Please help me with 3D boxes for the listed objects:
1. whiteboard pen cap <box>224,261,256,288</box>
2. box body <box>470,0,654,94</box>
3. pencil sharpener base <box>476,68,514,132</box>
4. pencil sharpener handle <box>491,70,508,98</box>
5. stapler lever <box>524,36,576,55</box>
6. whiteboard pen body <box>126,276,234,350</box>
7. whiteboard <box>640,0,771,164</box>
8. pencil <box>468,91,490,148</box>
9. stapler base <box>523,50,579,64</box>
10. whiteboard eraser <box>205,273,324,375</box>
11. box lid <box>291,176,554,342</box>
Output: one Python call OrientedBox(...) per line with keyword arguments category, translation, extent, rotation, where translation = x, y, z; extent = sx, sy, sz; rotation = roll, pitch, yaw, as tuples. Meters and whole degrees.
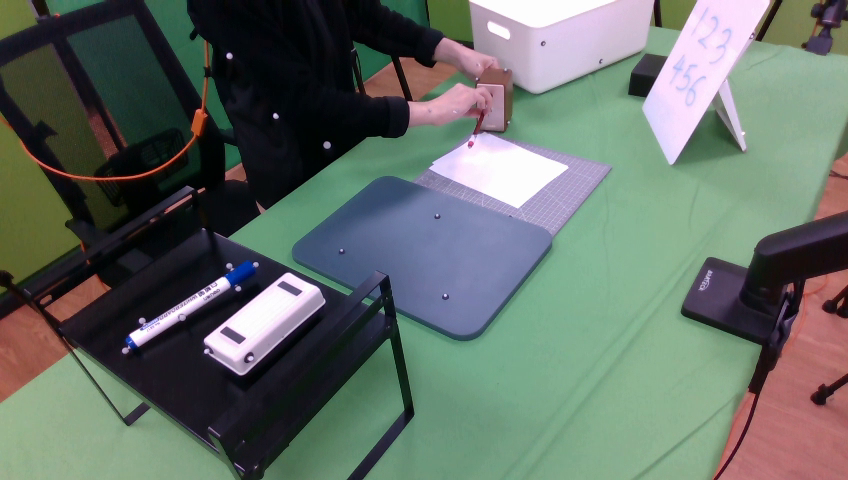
OrientedBox(category="whiteboard pen cap", translation=(-0.207, 0.039, 0.677), extent=(0.033, 0.018, 0.018), rotation=(-36, 47, -18))
OrientedBox(category="box body", translation=(0.319, -0.498, 1.405), extent=(0.365, 0.161, 0.252), rotation=(-26, 43, -21))
OrientedBox(category="pencil sharpener base", translation=(0.145, -0.284, 1.222), extent=(0.061, 0.107, 0.076), rotation=(7, 42, 18))
OrientedBox(category="pencil sharpener handle", translation=(0.154, -0.327, 1.252), extent=(0.036, 0.068, 0.030), rotation=(23, 45, 3))
OrientedBox(category="stapler lever", translation=(0.296, -0.456, 1.418), extent=(0.117, 0.040, 0.027), rotation=(4, 40, 17))
OrientedBox(category="whiteboard pen body", translation=(-0.251, 0.070, 0.649), extent=(0.141, 0.017, 0.017), rotation=(-36, 48, -26))
OrientedBox(category="whiteboard", translation=(0.543, -0.299, 1.076), extent=(0.144, 0.305, 0.216), rotation=(12, 40, -7))
OrientedBox(category="pencil", translation=(0.107, -0.235, 1.129), extent=(0.012, 0.012, 0.193), rotation=(6, 48, 15))
OrientedBox(category="stapler base", translation=(0.301, -0.437, 1.434), extent=(0.130, 0.024, 0.041), rotation=(5, 40, 17))
OrientedBox(category="whiteboard eraser", translation=(-0.157, 0.084, 0.605), extent=(0.055, 0.042, 0.113), rotation=(24, 49, 30))
OrientedBox(category="box lid", translation=(-0.005, 0.011, 0.972), extent=(0.368, 0.015, 0.264), rotation=(21, 49, 30))
